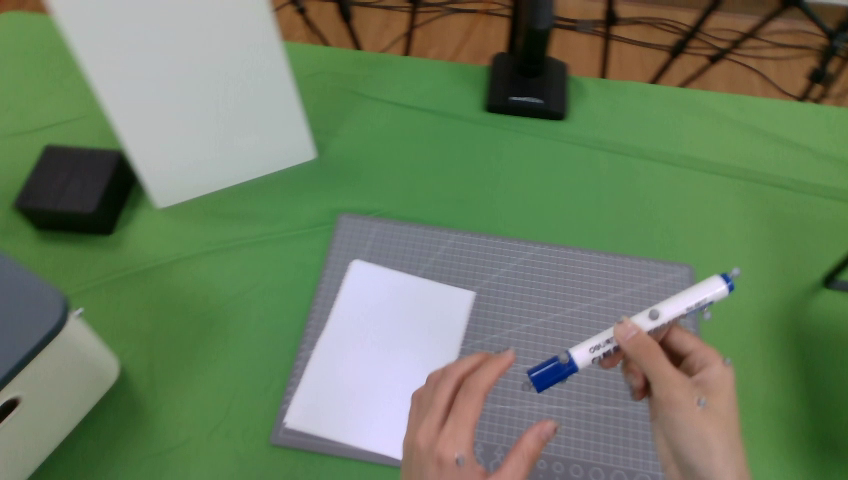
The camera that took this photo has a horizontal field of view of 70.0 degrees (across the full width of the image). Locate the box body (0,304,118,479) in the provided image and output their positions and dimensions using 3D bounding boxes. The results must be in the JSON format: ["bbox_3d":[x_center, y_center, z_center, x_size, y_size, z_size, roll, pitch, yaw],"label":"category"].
[{"bbox_3d":[-0.527,0.105,0.587,0.362,0.161,0.253,27,61,15],"label":"box body"}]

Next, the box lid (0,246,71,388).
[{"bbox_3d":[-0.528,0.065,0.525,0.370,0.015,0.262,28,61,14],"label":"box lid"}]

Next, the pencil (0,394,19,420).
[{"bbox_3d":[-0.428,0.174,0.627,0.012,0.012,0.192,11,48,6],"label":"pencil"}]

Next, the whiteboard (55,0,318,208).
[{"bbox_3d":[-0.288,-0.232,0.759,0.217,0.308,0.142,-20,41,-13],"label":"whiteboard"}]

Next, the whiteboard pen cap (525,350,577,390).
[{"bbox_3d":[0.085,0.085,0.401,0.033,0.018,0.018,-29,61,2],"label":"whiteboard pen cap"}]

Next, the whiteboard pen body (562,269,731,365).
[{"bbox_3d":[0.137,0.056,0.400,0.141,0.017,0.017,-27,60,2],"label":"whiteboard pen body"}]
